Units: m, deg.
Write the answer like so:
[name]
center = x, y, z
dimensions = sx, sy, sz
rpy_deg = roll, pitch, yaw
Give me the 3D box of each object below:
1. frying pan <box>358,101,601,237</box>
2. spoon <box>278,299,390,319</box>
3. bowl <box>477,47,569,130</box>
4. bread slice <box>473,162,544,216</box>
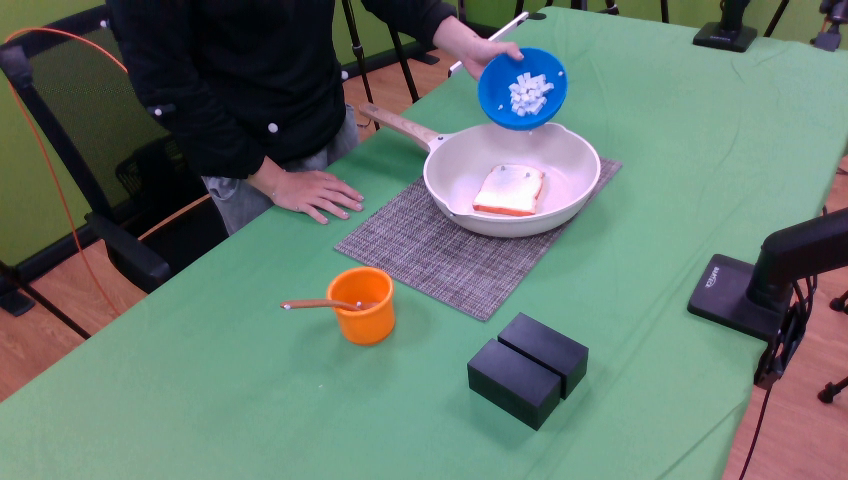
[frying pan]
center = 0.067, -0.153, 1.067
dimensions = 0.484, 0.103, 0.308
rpy_deg = 32, 52, 26
[spoon]
center = -0.113, 0.087, 0.787
dimensions = 0.041, 0.021, 0.195
rpy_deg = 29, 7, 36
[bowl]
center = 0.170, -0.244, 1.036
dimensions = 0.151, 0.077, 0.151
rpy_deg = -4, 70, 11
[bread slice]
center = 0.150, -0.088, 1.042
dimensions = 0.106, 0.018, 0.134
rpy_deg = 7, 45, 16
